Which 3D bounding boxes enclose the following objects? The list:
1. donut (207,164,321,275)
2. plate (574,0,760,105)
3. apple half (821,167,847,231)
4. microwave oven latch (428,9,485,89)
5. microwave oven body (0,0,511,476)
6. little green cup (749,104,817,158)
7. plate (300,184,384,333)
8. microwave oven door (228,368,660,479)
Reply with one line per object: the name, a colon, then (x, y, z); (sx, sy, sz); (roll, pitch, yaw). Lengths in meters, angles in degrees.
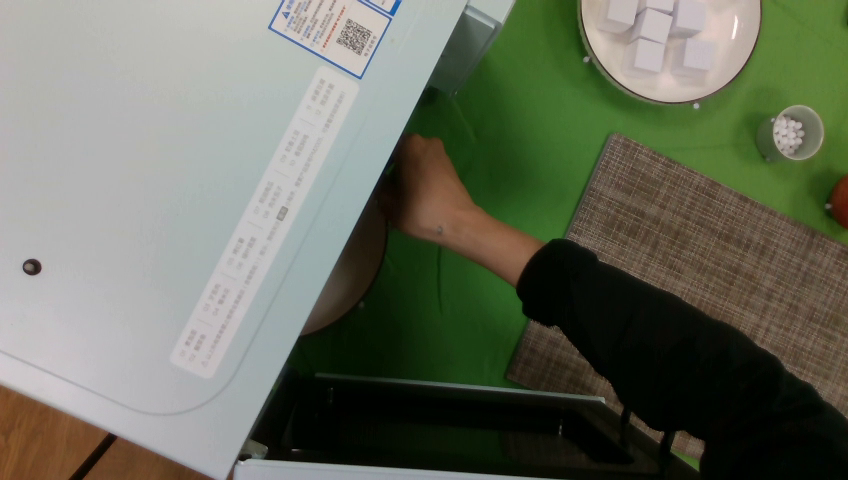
donut: (-0.140, -0.017, 0.534); (0.099, 0.048, 0.099); (-1, 94, -8)
plate: (0.262, -0.251, 0.666); (0.208, 0.039, 0.207); (0, 92, -7)
apple half: (0.485, -0.047, 0.685); (0.053, 0.074, 0.081); (-2, 96, -2)
microwave oven latch: (0.032, -0.197, 0.622); (0.030, 0.029, 0.079); (30, 89, -7)
microwave oven body: (-0.168, -0.103, 0.505); (0.327, 0.259, 0.441); (27, 90, -7)
little green cup: (0.405, -0.121, 0.689); (0.061, 0.038, 0.061); (0, 91, -6)
plate: (-0.142, -0.016, 0.547); (0.209, 0.038, 0.209); (0, 92, -8)
microwave oven door: (0.032, 0.173, 0.536); (0.357, 0.243, 0.039); (7, 90, -7)
